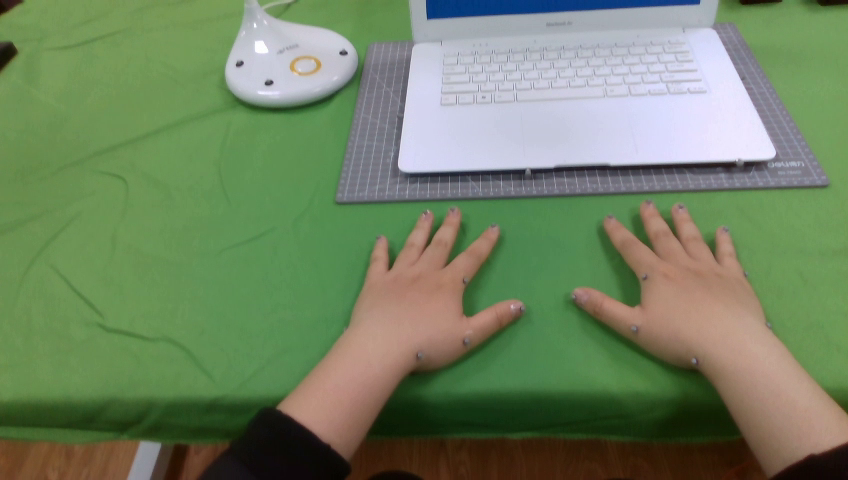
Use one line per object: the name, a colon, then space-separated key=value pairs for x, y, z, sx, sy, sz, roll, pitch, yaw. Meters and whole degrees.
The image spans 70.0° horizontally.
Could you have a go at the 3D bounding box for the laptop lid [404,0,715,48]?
laptop lid: x=0.147 y=-0.326 z=0.653 sx=0.356 sy=0.244 sz=0.013 roll=-3 pitch=39 yaw=6

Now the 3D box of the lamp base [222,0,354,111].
lamp base: x=-0.181 y=-0.265 z=0.687 sx=0.177 sy=0.182 sz=0.160 roll=29 pitch=56 yaw=33

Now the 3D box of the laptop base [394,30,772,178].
laptop base: x=0.151 y=-0.147 z=0.648 sx=0.354 sy=0.023 sz=0.233 roll=-2 pitch=50 yaw=5
